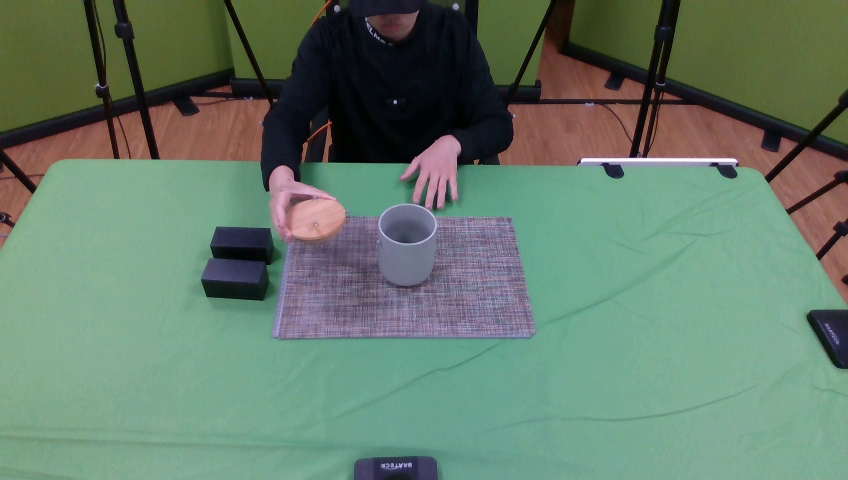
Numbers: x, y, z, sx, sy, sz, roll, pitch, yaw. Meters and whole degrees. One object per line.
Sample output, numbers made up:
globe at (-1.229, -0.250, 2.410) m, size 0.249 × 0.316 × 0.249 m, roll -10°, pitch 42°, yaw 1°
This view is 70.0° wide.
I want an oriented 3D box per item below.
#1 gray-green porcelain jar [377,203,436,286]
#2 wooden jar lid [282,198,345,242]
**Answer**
gray-green porcelain jar at (-0.033, 0.014, 1.106) m, size 0.106 × 0.127 × 0.105 m, roll 2°, pitch 46°, yaw -2°
wooden jar lid at (-0.190, -0.033, 1.050) m, size 0.108 × 0.021 × 0.107 m, roll -3°, pitch 40°, yaw 2°
